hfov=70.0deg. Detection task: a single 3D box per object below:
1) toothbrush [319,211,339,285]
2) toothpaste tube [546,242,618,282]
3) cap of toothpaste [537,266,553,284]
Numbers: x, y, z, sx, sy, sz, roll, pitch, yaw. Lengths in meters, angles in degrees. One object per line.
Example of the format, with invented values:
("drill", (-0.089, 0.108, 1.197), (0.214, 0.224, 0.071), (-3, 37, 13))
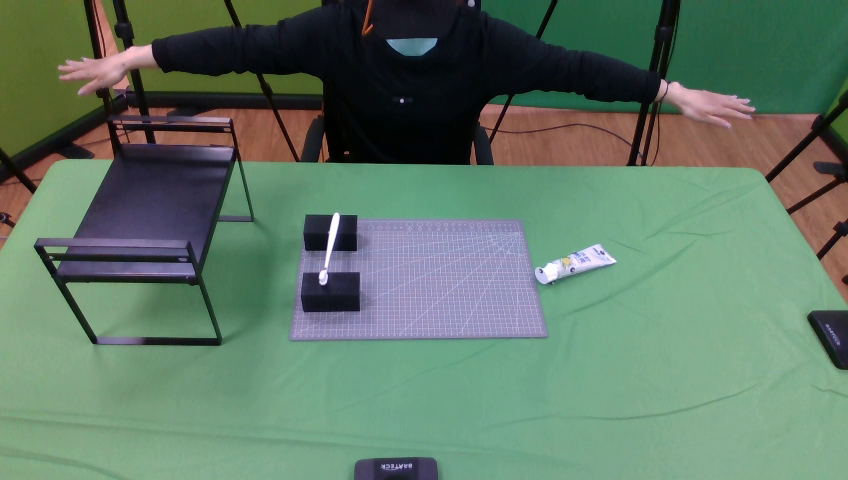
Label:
("toothbrush", (-0.172, 0.009, 1.103), (0.014, 0.017, 0.180), (-7, 44, 10))
("toothpaste tube", (0.298, 0.043, 1.169), (0.165, 0.034, 0.054), (-18, 56, -25))
("cap of toothpaste", (0.227, 0.064, 1.136), (0.011, 0.037, 0.037), (-28, 54, -26))
